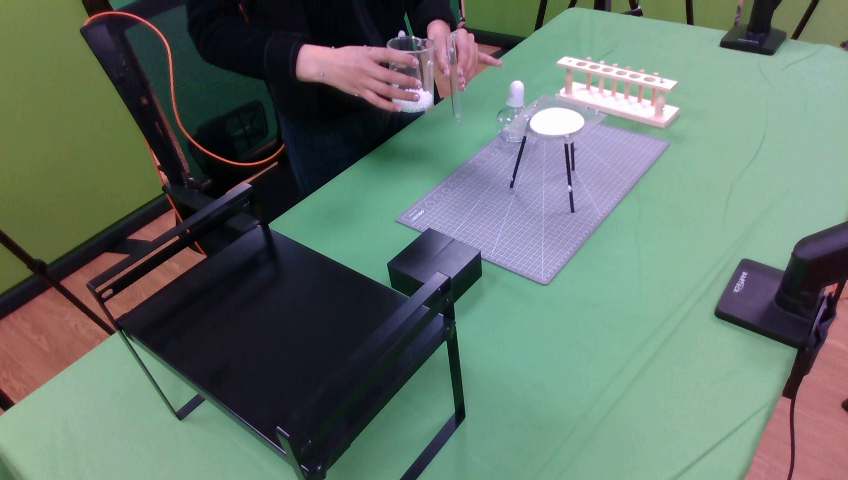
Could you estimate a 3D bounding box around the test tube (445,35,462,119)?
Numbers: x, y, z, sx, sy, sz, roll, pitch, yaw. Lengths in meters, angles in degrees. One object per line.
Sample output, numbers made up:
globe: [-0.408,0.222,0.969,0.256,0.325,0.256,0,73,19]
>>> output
test tube: [0.051,-0.276,1.040,0.017,0.151,0.017,-5,40,5]

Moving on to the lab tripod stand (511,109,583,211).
lab tripod stand: [0.220,-0.138,1.014,0.148,0.132,0.147,-3,41,3]

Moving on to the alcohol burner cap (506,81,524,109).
alcohol burner cap: [0.173,-0.277,1.145,0.034,0.048,0.033,1,41,-1]

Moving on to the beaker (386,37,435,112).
beaker: [-0.019,-0.261,0.955,0.073,0.100,0.084,12,38,16]

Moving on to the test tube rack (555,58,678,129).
test tube rack: [0.389,-0.307,1.229,0.240,0.085,0.067,26,50,33]

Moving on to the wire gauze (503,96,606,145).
wire gauze: [0.211,-0.192,0.975,0.120,0.011,0.125,24,49,32]

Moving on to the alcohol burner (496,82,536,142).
alcohol burner: [0.178,-0.250,1.168,0.078,0.119,0.077,-5,42,5]
